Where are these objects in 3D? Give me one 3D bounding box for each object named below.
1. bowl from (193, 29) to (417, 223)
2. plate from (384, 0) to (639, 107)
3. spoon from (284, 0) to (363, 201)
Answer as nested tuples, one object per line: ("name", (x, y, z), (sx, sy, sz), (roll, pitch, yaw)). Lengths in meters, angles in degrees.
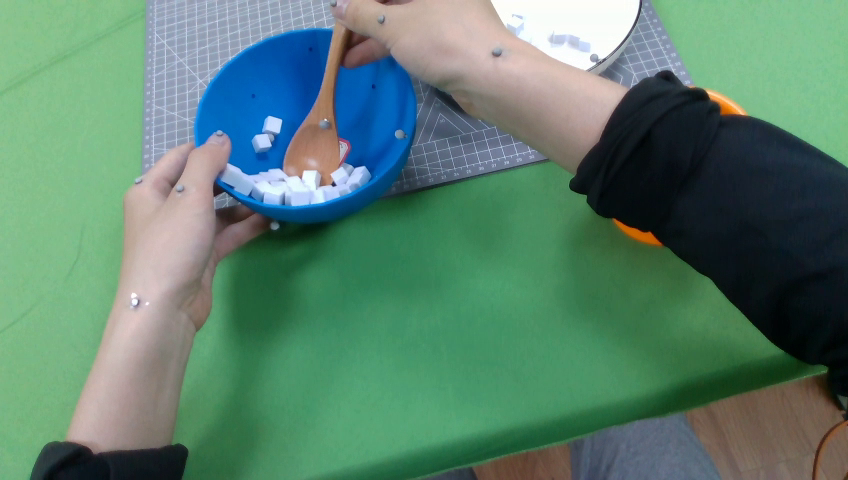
("bowl", (-0.077, -0.068, 0.438), (0.151, 0.077, 0.150), (-1, 64, 3))
("plate", (0.071, -0.193, 0.512), (0.209, 0.038, 0.207), (-3, 64, 6))
("spoon", (-0.057, -0.116, 0.403), (0.041, 0.021, 0.194), (25, 114, 12))
